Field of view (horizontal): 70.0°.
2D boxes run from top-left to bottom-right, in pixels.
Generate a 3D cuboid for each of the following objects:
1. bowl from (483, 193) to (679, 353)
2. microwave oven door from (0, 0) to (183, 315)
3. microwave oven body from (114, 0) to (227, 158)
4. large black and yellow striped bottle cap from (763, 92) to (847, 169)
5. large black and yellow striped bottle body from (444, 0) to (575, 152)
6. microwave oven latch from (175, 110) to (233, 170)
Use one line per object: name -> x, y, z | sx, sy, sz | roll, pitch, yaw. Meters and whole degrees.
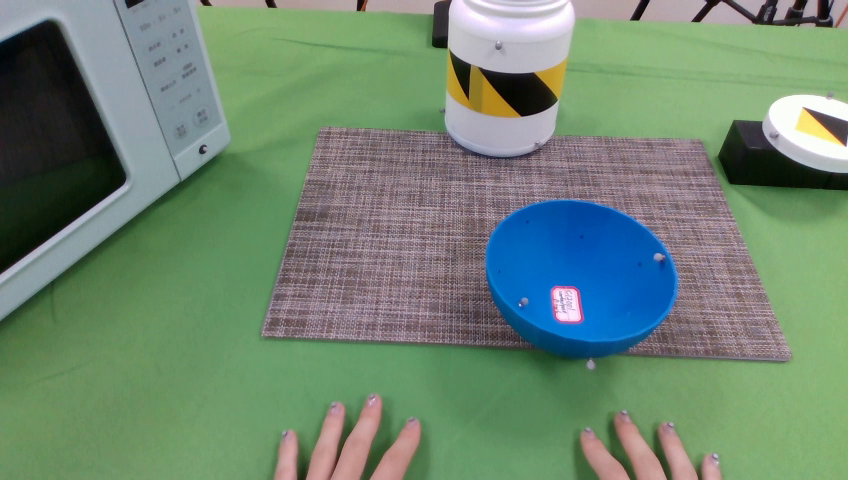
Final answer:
bowl -> 0.121, 0.040, 0.505 | 0.151, 0.077, 0.150 | 0, 47, 0
microwave oven door -> -0.351, -0.042, 0.439 | 0.039, 0.246, 0.354 | 23, 51, 20
microwave oven body -> -0.456, -0.119, 0.515 | 0.324, 0.262, 0.440 | 24, 52, 19
large black and yellow striped bottle cap -> 0.419, -0.117, 0.635 | 0.115, 0.019, 0.114 | 0, 47, 0
large black and yellow striped bottle body -> 0.090, -0.205, 0.659 | 0.131, 0.185, 0.129 | 1, 44, -1
microwave oven latch -> -0.239, -0.109, 0.643 | 0.030, 0.030, 0.079 | 26, 53, 20
